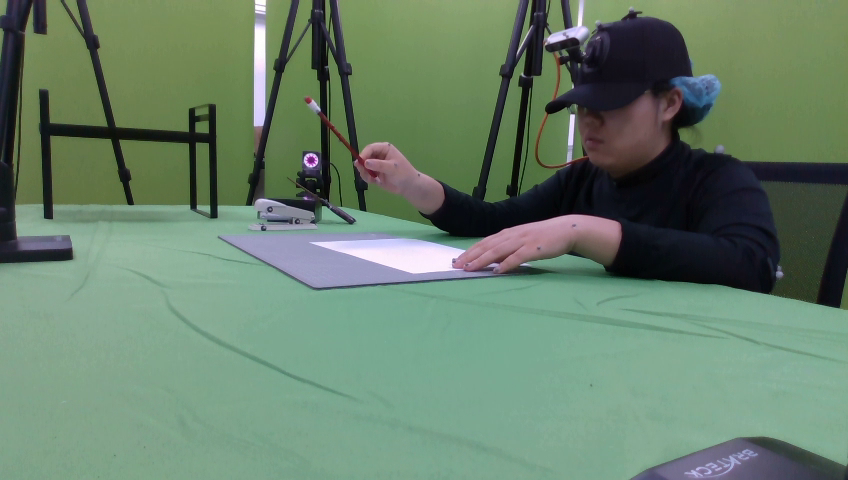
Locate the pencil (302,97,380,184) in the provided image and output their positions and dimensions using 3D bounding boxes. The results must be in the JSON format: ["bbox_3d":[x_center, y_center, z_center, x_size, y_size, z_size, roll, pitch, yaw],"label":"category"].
[{"bbox_3d":[-0.132,-0.158,0.993,0.012,0.012,0.195,13,-29,54],"label":"pencil"}]

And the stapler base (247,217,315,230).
[{"bbox_3d":[-0.276,-0.033,1.172,0.131,0.024,0.041,0,10,-37],"label":"stapler base"}]

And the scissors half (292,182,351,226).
[{"bbox_3d":[-0.232,-0.085,1.317,0.175,0.013,0.040,38,20,4],"label":"scissors half"}]

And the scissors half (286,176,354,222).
[{"bbox_3d":[-0.229,-0.091,1.337,0.175,0.013,0.040,33,15,-13],"label":"scissors half"}]

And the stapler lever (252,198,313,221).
[{"bbox_3d":[-0.273,-0.058,1.170,0.119,0.040,0.026,0,10,-37],"label":"stapler lever"}]
